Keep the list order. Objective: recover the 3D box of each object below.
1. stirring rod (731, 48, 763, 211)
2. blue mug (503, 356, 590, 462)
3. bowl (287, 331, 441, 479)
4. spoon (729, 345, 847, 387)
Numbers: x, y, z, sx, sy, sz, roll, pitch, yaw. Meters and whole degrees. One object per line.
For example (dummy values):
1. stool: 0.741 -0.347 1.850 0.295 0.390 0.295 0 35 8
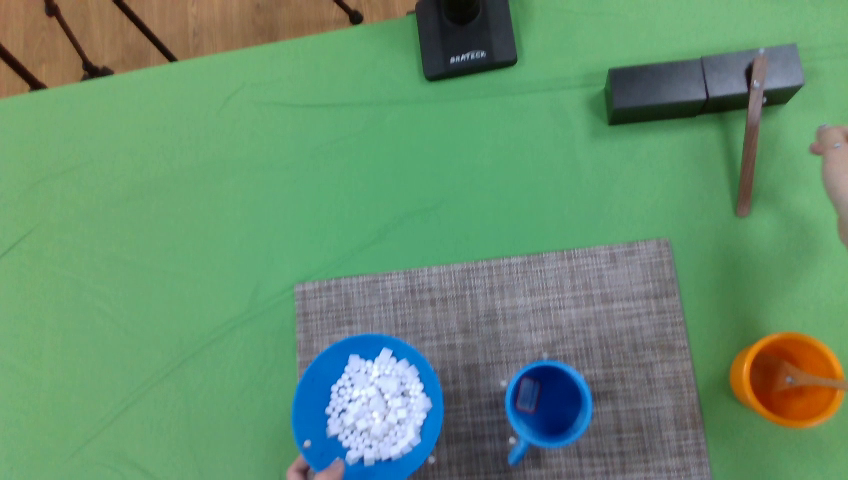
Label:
1. stirring rod: 0.355 -0.119 0.667 0.014 0.006 0.176 2 101 4
2. blue mug: 0.117 0.178 0.628 0.082 0.106 0.116 31 86 14
3. bowl: -0.056 0.175 0.626 0.151 0.077 0.150 -1 69 3
4. spoon: 0.387 0.132 0.573 0.022 0.192 0.041 20 80 -31
